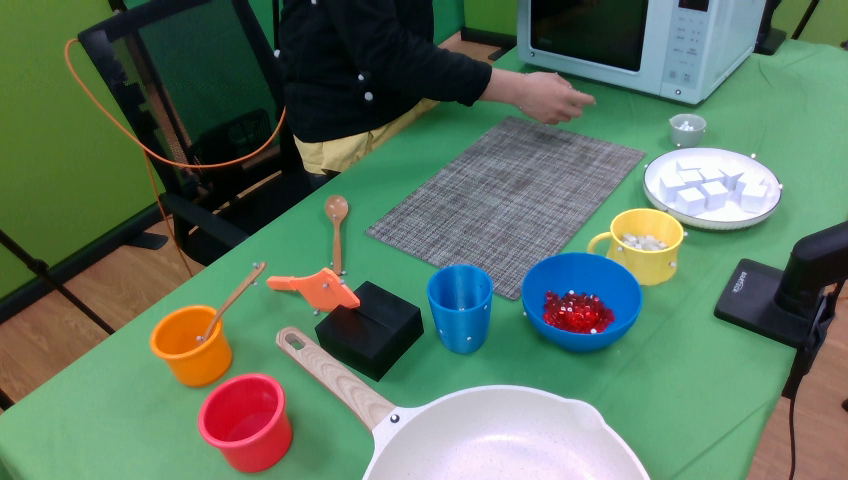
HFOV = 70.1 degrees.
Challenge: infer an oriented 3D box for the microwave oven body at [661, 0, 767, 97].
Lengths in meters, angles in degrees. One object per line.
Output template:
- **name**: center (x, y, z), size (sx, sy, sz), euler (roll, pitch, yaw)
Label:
- **microwave oven body**: center (0.473, -0.516, 1.313), size (0.438, 0.261, 0.327), euler (26, 51, 34)

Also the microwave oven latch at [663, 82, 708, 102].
- **microwave oven latch**: center (0.518, -0.299, 1.203), size (0.078, 0.029, 0.030), euler (30, 53, 36)

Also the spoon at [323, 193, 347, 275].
- **spoon**: center (-0.148, -0.014, 1.008), size (0.042, 0.022, 0.192), euler (1, 40, -9)

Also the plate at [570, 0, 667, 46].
- **plate**: center (0.436, -0.488, 1.368), size (0.209, 0.038, 0.208), euler (-5, 40, 4)

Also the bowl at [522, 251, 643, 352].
- **bowl**: center (0.204, 0.093, 0.792), size (0.151, 0.077, 0.150), euler (-4, 40, 4)

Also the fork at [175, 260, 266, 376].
- **fork**: center (-0.268, 0.103, 0.792), size (0.207, 0.019, 0.028), euler (-51, 40, 16)

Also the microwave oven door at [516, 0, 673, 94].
- **microwave oven door**: center (0.345, -0.458, 1.257), size (0.353, 0.245, 0.039), euler (26, 52, 33)

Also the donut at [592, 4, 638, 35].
- **donut**: center (0.428, -0.493, 1.352), size (0.099, 0.048, 0.098), euler (-7, 41, 7)

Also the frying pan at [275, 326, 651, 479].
- **frying pan**: center (0.004, 0.229, 0.641), size (0.484, 0.103, 0.308), euler (34, 54, 28)

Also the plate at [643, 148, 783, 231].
- **plate**: center (0.464, -0.080, 0.986), size (0.207, 0.039, 0.206), euler (-4, 41, 4)

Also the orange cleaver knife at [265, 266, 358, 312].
- **orange cleaver knife**: center (-0.164, 0.073, 0.864), size (0.210, 0.077, 0.012), euler (-6, 31, 50)

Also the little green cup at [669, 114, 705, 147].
- **little green cup**: center (0.485, -0.203, 1.123), size (0.061, 0.039, 0.061), euler (-5, 40, 5)

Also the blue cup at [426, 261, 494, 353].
- **blue cup**: center (0.049, 0.095, 0.791), size (0.092, 0.100, 0.092), euler (-3, 42, 3)

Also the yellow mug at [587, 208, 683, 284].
- **yellow mug**: center (0.305, 0.009, 0.884), size (0.131, 0.064, 0.099), euler (-4, 40, 5)
